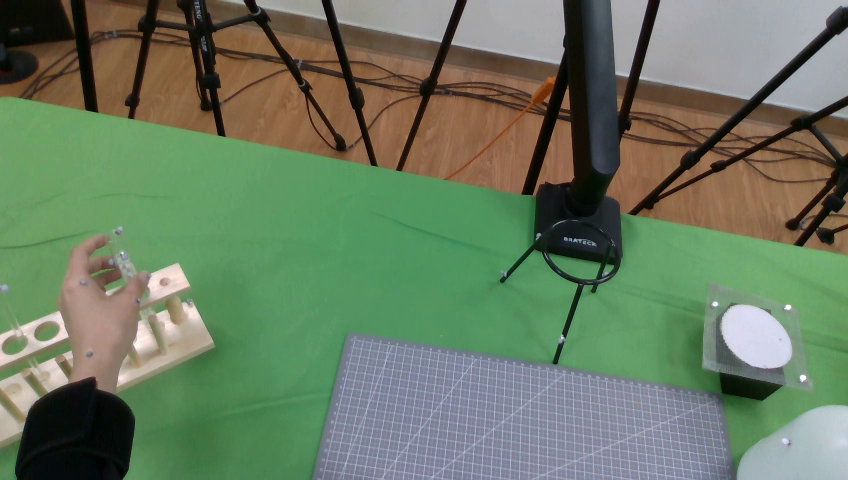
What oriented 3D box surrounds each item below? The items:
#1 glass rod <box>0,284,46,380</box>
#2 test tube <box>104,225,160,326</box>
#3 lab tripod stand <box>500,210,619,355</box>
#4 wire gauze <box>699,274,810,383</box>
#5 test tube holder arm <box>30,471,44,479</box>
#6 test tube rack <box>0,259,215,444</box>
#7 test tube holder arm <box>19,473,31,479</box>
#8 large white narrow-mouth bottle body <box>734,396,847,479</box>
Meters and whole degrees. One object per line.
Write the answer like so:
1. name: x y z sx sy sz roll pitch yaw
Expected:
1. glass rod: -0.382 0.074 0.562 0.008 0.201 0.008 6 44 -6
2. test tube: -0.295 0.041 0.618 0.017 0.151 0.017 3 47 -3
3. lab tripod stand: 0.166 0.043 0.716 0.148 0.132 0.147 5 54 -6
4. wire gauze: 0.388 0.103 0.720 0.121 0.011 0.124 16 53 4
5. test tube holder arm: -0.322 0.277 0.486 0.013 0.015 0.176 -1 54 -22
6. test tube rack: -0.350 0.115 0.619 0.243 0.086 0.066 -25 61 -24
7. test tube holder arm: -0.338 0.241 0.508 0.010 0.015 0.087 -2 54 -22
8. large white narrow-mouth bottle body: 0.392 0.209 0.587 0.102 0.196 0.101 3 53 -4
